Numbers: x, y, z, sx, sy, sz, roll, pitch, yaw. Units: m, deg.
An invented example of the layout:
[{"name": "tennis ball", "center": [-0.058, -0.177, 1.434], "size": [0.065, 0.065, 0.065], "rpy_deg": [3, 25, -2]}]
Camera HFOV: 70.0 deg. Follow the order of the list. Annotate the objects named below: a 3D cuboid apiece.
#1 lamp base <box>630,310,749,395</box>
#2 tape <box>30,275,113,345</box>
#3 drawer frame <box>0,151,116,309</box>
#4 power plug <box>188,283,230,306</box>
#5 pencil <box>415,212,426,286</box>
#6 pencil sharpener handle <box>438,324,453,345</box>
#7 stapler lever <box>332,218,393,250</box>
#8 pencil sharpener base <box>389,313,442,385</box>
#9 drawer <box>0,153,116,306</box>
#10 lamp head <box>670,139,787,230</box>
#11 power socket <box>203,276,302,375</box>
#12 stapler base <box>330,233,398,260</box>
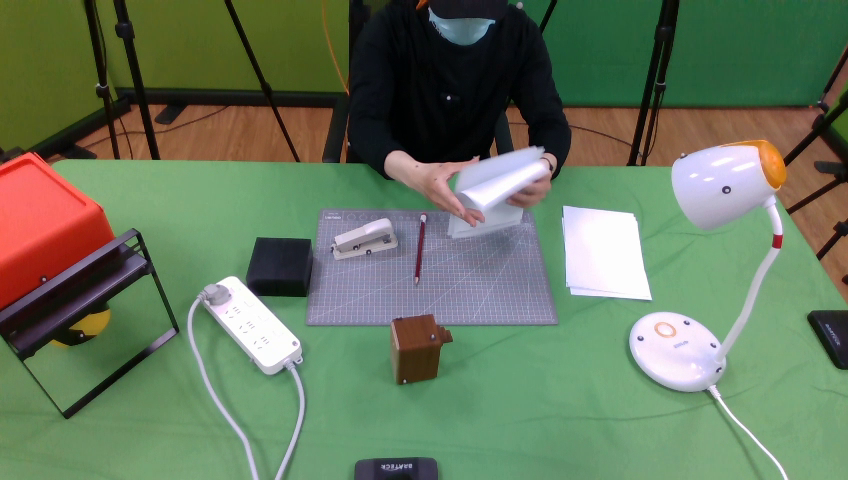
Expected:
[{"name": "lamp base", "center": [0.447, 0.142, 0.984], "size": [0.161, 0.181, 0.178], "rpy_deg": [-24, 55, -24]}, {"name": "tape", "center": [-0.593, 0.117, 1.021], "size": [0.117, 0.053, 0.116], "rpy_deg": [2, 46, -2]}, {"name": "drawer frame", "center": [-0.604, -0.013, 0.875], "size": [0.201, 0.083, 0.213], "rpy_deg": [31, 52, 23]}, {"name": "power plug", "center": [-0.368, 0.099, 1.037], "size": [0.072, 0.053, 0.035], "rpy_deg": [-24, 52, -25]}, {"name": "pencil", "center": [-0.007, 0.014, 1.190], "size": [0.012, 0.012, 0.193], "rpy_deg": [5, 48, 1]}, {"name": "pencil sharpener handle", "center": [0.036, 0.155, 0.976], "size": [0.031, 0.068, 0.036], "rpy_deg": [-8, 70, -11]}, {"name": "stapler lever", "center": [-0.116, -0.012, 1.162], "size": [0.118, 0.040, 0.026], "rpy_deg": [-13, 47, -14]}, {"name": "pencil sharpener base", "center": [-0.013, 0.175, 0.971], "size": [0.077, 0.107, 0.061], "rpy_deg": [-8, 47, -11]}, {"name": "drawer", "center": [-0.601, -0.015, 0.880], "size": [0.193, 0.073, 0.211], "rpy_deg": [32, 53, 23]}, {"name": "lamp head", "center": [0.415, -0.079, 0.812], "size": [0.113, 0.123, 0.112], "rpy_deg": [13, 70, -37]}, {"name": "power socket", "center": [-0.297, 0.141, 1.034], "size": [0.072, 0.033, 0.225], "rpy_deg": [-34, 58, -30]}, {"name": "stapler base", "center": [-0.116, 0.004, 1.181], "size": [0.131, 0.024, 0.041], "rpy_deg": [-13, 47, -14]}]
